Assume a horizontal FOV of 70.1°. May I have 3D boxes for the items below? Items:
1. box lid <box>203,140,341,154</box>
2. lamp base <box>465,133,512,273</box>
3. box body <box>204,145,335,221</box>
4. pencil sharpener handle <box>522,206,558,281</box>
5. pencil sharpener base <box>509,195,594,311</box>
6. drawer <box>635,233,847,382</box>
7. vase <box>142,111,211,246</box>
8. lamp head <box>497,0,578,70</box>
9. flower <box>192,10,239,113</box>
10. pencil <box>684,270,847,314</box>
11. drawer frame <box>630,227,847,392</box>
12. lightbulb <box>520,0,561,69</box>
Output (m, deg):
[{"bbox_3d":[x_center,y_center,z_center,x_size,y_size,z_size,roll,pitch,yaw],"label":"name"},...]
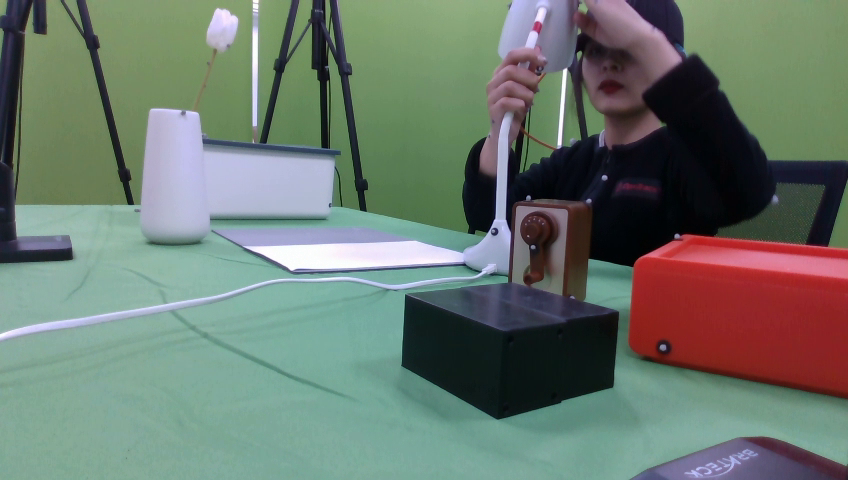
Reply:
[{"bbox_3d":[-0.396,-0.212,1.373,0.373,0.015,0.262,-1,9,-29],"label":"box lid"},{"bbox_3d":[0.130,-0.053,0.805,0.160,0.180,0.180,6,14,28],"label":"lamp base"},{"bbox_3d":[-0.411,-0.135,1.386,0.366,0.160,0.253,-2,9,-29],"label":"box body"},{"bbox_3d":[0.102,0.003,0.555,0.036,0.067,0.031,0,5,31],"label":"pencil sharpener handle"},{"bbox_3d":[0.126,0.011,0.601,0.061,0.107,0.077,7,9,30],"label":"pencil sharpener base"},{"bbox_3d":[0.292,0.046,0.488,0.193,0.073,0.213,7,10,30],"label":"drawer"},{"bbox_3d":[-0.378,-0.093,0.920,0.098,0.200,0.098,2,9,0],"label":"vase"},{"bbox_3d":[0.164,-0.313,0.845,0.112,0.123,0.112,2,48,-2],"label":"lamp head"},{"bbox_3d":[-0.354,-0.174,0.915,0.038,0.361,0.044,18,-3,12],"label":"flower"},{"bbox_3d":[0.307,0.046,0.516,0.194,0.012,0.012,13,5,-11],"label":"pencil"},{"bbox_3d":[0.292,0.043,0.484,0.201,0.082,0.214,7,9,29],"label":"drawer frame"},{"bbox_3d":[0.169,-0.299,0.865,0.059,0.108,0.059,-2,38,2],"label":"lightbulb"}]
